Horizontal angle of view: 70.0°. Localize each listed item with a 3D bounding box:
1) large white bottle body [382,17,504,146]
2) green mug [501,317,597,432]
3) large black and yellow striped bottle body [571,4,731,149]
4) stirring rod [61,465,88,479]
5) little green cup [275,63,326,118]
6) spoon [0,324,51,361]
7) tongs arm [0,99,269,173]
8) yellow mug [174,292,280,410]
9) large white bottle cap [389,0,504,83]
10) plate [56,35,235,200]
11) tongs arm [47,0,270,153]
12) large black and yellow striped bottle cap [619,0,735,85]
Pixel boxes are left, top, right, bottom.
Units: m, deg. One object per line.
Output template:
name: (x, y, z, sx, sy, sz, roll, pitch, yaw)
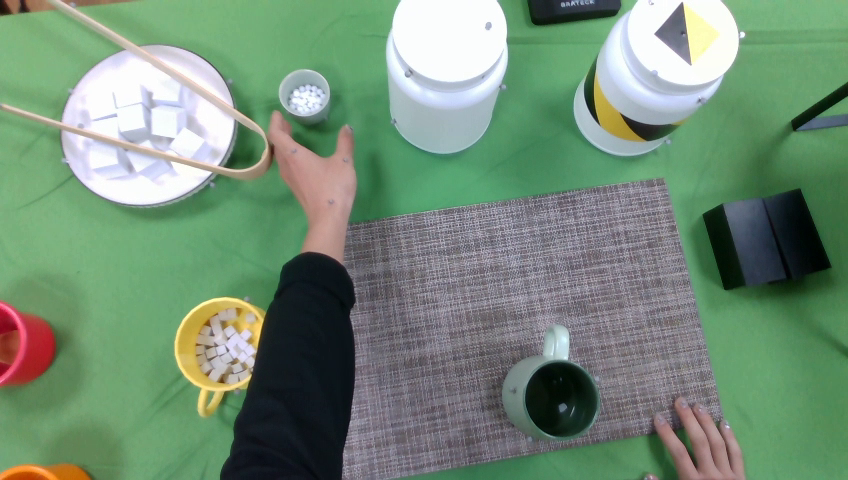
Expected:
large white bottle body: (0.020, -0.197, 0.686, 0.131, 0.185, 0.130, 0, 78, -1)
green mug: (0.137, 0.146, 0.662, 0.092, 0.105, 0.125, 8, 79, 0)
large black and yellow striped bottle body: (0.255, -0.195, 0.696, 0.131, 0.184, 0.130, 0, 78, -2)
stirring rod: (-0.413, 0.288, 0.598, 0.014, 0.006, 0.176, 41, 38, 5)
little green cup: (-0.150, -0.182, 0.751, 0.061, 0.039, 0.061, 0, 80, -2)
spoon: (-0.500, 0.106, 0.627, 0.195, 0.021, 0.041, 10, 73, -45)
tongs arm: (-0.371, -0.141, 0.702, 0.384, 0.026, 0.050, 18, 75, 4)
yellow mug: (-0.222, 0.125, 0.675, 0.100, 0.064, 0.130, 16, 80, 0)
large white bottle cap: (0.022, -0.213, 0.603, 0.115, 0.018, 0.114, 0, 79, -2)
plate: (-0.332, -0.146, 0.737, 0.208, 0.039, 0.206, 1, 79, -2)
tongs arm: (-0.337, -0.215, 0.720, 0.386, 0.028, 0.028, 32, 73, 6)
large black and yellow striped bottle cap: (0.256, -0.214, 0.614, 0.115, 0.019, 0.114, 1, 79, -3)
